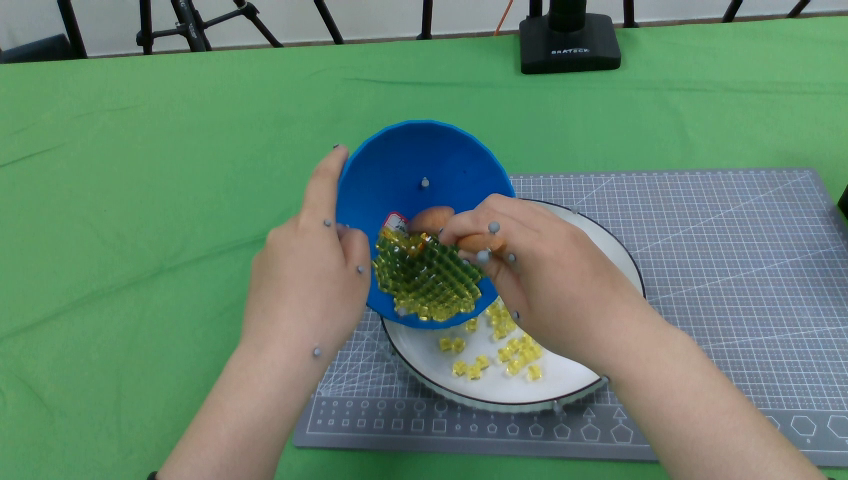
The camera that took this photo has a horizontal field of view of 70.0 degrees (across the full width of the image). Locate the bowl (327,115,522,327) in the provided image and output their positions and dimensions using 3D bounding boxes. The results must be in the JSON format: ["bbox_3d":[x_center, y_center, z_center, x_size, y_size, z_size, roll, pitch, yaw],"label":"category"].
[{"bbox_3d":[-0.010,-0.011,0.459,0.151,0.152,0.076,-36,12,-24],"label":"bowl"}]

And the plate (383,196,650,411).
[{"bbox_3d":[0.071,0.047,0.490,0.207,0.039,0.205,-4,47,4],"label":"plate"}]

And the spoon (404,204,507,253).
[{"bbox_3d":[0.020,-0.007,0.389,0.041,0.022,0.192,-21,13,-9],"label":"spoon"}]
